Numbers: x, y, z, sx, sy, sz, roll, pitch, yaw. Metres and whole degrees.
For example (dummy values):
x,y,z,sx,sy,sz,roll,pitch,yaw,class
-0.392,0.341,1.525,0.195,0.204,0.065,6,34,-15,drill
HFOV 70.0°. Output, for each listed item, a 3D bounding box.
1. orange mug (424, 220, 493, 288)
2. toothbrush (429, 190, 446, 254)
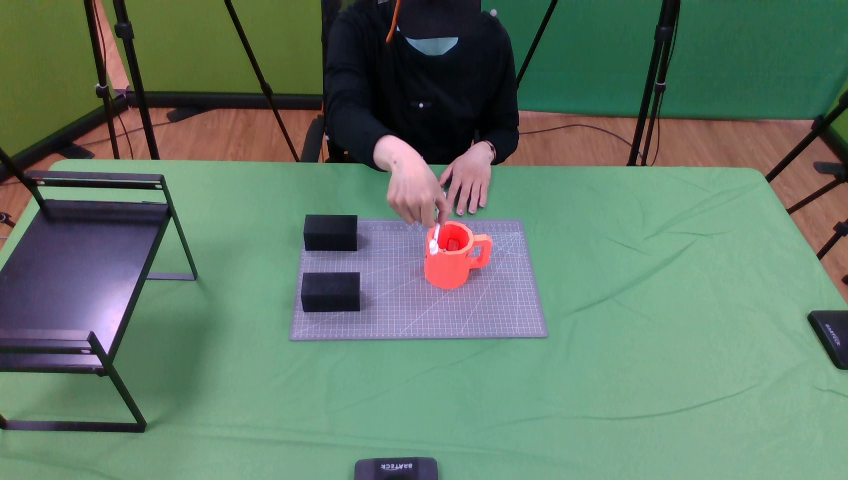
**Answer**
x,y,z,sx,sy,sz,roll,pitch,yaw,class
0.064,0.023,1.119,0.126,0.101,0.083,-9,47,-7,orange mug
0.024,-0.037,1.040,0.014,0.017,0.181,-16,33,19,toothbrush
